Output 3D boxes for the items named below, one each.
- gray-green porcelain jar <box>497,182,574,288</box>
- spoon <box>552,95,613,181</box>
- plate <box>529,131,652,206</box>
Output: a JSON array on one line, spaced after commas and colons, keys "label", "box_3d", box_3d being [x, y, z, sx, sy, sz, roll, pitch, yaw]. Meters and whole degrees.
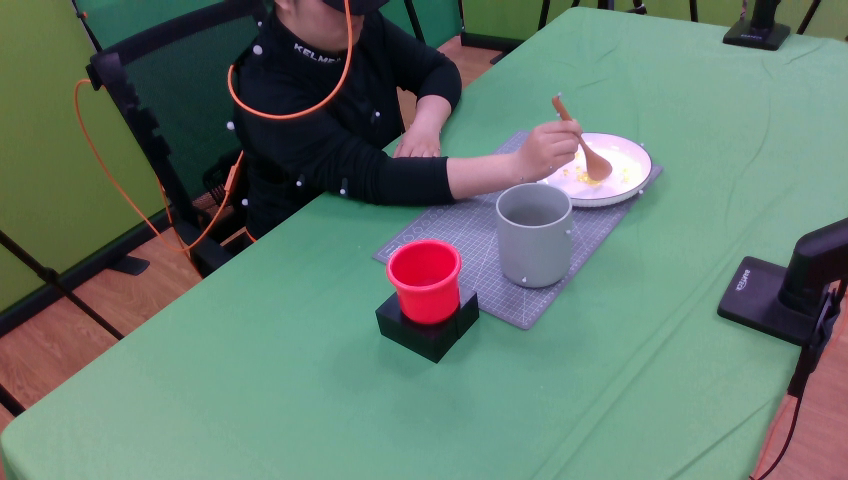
[{"label": "gray-green porcelain jar", "box_3d": [0.160, -0.003, 0.869, 0.106, 0.127, 0.105, -5, 40, 5]}, {"label": "spoon", "box_3d": [0.252, -0.161, 0.974, 0.041, 0.195, 0.021, -30, 33, 21]}, {"label": "plate", "box_3d": [0.287, -0.121, 1.056, 0.207, 0.039, 0.206, -5, 40, 5]}]
